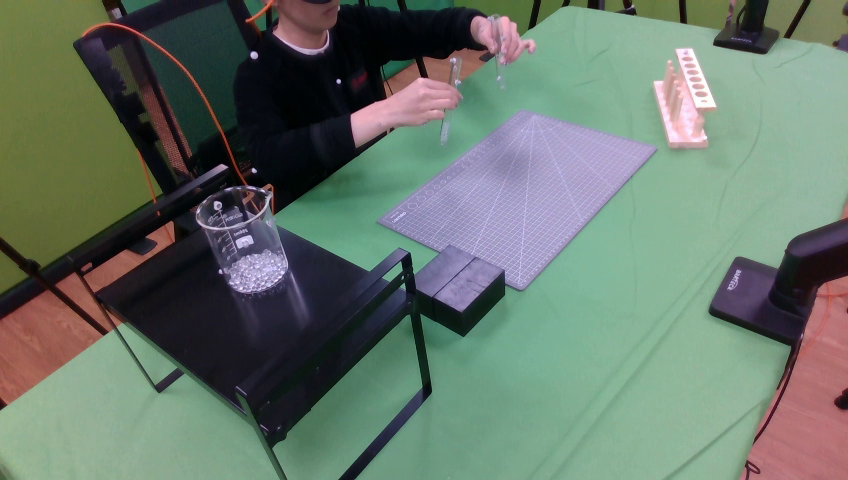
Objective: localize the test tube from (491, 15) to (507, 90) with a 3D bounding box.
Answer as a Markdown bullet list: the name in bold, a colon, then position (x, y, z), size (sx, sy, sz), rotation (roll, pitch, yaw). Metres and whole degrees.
- **test tube**: position (0.135, -0.330, 1.076), size (0.017, 0.151, 0.017), rotation (-6, 51, 8)

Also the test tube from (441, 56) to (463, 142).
- **test tube**: position (0.047, -0.240, 1.040), size (0.017, 0.150, 0.017), rotation (7, 32, -4)

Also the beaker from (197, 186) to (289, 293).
- **beaker**: position (-0.192, 0.001, 0.666), size (0.084, 0.101, 0.073), rotation (-32, 47, -27)

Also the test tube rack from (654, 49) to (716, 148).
- **test tube rack**: position (0.502, -0.281, 1.176), size (0.066, 0.085, 0.241), rotation (1, 41, 11)
